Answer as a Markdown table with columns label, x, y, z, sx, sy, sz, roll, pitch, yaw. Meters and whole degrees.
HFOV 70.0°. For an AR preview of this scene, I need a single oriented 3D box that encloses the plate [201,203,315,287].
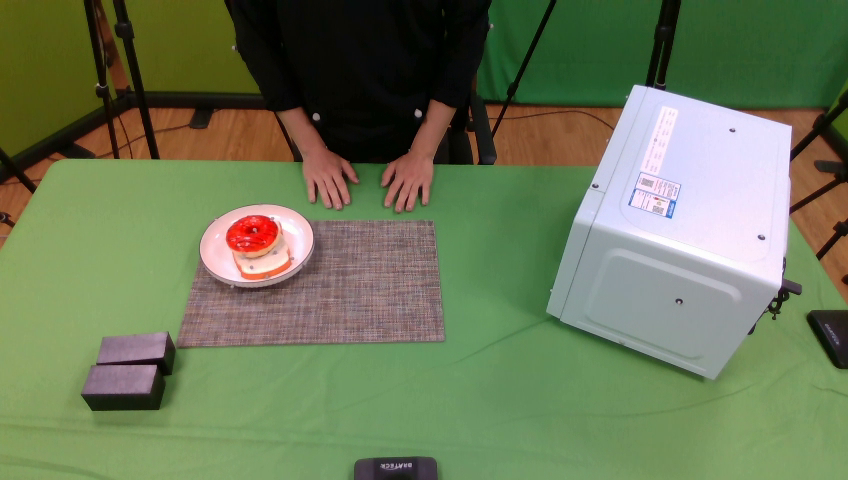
| label | x | y | z | sx | sy | sz | roll | pitch | yaw |
| --- | --- | --- | --- | --- | --- | --- | --- | --- | --- |
| plate | -0.310 | 0.013 | 1.145 | 0.208 | 0.039 | 0.206 | 2 | 46 | -2 |

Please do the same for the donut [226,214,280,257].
| label | x | y | z | sx | sy | sz | roll | pitch | yaw |
| --- | --- | --- | --- | --- | --- | --- | --- | --- | --- |
| donut | -0.318 | -0.010 | 1.127 | 0.099 | 0.048 | 0.098 | 0 | 45 | 0 |

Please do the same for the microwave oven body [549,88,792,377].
| label | x | y | z | sx | sy | sz | roll | pitch | yaw |
| --- | --- | --- | --- | --- | --- | --- | --- | --- | --- |
| microwave oven body | 0.456 | -0.028 | 1.088 | 0.325 | 0.261 | 0.440 | 20 | 47 | 16 |

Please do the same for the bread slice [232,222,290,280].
| label | x | y | z | sx | sy | sz | roll | pitch | yaw |
| --- | --- | --- | --- | --- | --- | --- | --- | --- | --- |
| bread slice | -0.308 | 0.019 | 1.141 | 0.105 | 0.019 | 0.130 | -17 | 48 | -18 |

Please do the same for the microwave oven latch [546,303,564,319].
| label | x | y | z | sx | sy | sz | roll | pitch | yaw |
| --- | --- | --- | --- | --- | --- | --- | --- | --- | --- |
| microwave oven latch | 0.242 | 0.102 | 1.081 | 0.030 | 0.029 | 0.079 | 22 | 48 | 17 |

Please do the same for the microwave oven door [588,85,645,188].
| label | x | y | z | sx | sy | sz | roll | pitch | yaw |
| --- | --- | --- | --- | --- | --- | --- | --- | --- | --- |
| microwave oven door | 0.342 | -0.107 | 1.149 | 0.039 | 0.245 | 0.354 | 20 | 48 | 15 |
